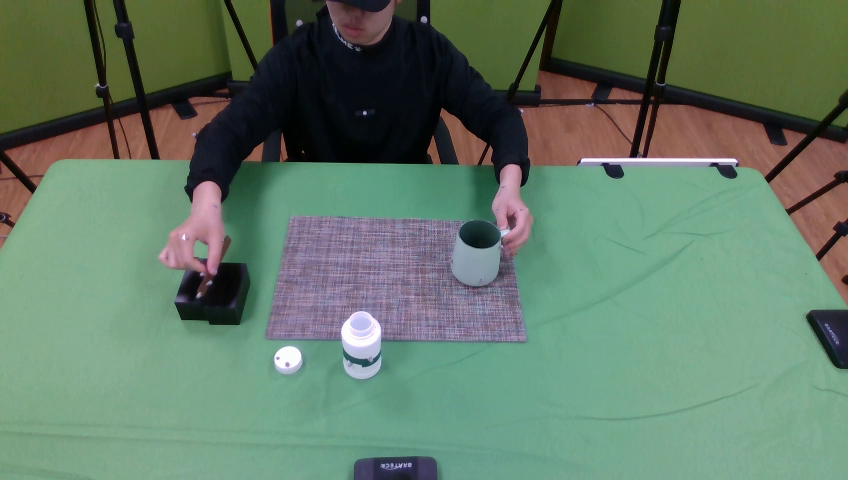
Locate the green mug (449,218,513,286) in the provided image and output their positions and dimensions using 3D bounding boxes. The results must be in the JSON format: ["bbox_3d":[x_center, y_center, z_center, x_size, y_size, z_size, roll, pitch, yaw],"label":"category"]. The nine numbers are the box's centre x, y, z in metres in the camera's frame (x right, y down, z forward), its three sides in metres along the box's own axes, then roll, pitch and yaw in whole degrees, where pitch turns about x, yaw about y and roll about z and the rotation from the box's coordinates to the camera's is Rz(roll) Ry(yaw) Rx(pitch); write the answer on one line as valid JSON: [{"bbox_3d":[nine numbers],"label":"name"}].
[{"bbox_3d":[0.110,0.019,1.126,0.125,0.105,0.092,-20,50,-22],"label":"green mug"}]

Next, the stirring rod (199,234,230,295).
[{"bbox_3d":[-0.352,0.038,1.021,0.006,0.014,0.175,-24,29,11],"label":"stirring rod"}]

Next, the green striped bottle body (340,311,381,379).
[{"bbox_3d":[-0.101,0.164,0.964,0.063,0.120,0.063,2,46,-2],"label":"green striped bottle body"}]

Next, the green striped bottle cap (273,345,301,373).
[{"bbox_3d":[-0.225,0.195,0.997,0.044,0.020,0.044,2,50,-3],"label":"green striped bottle cap"}]
